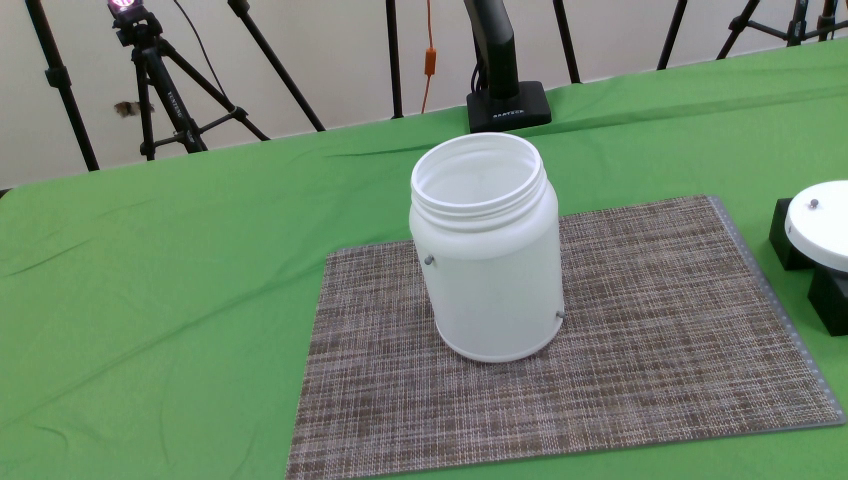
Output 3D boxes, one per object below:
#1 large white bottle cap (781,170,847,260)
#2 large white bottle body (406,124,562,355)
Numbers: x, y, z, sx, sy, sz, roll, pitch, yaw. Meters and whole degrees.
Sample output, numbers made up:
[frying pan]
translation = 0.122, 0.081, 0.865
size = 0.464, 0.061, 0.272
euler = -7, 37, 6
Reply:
[large white bottle cap]
translation = 0.385, -0.024, 0.540
size = 0.115, 0.018, 0.113
euler = -8, 40, 7
[large white bottle body]
translation = 0.056, 0.001, 0.553
size = 0.130, 0.186, 0.129
euler = -8, 41, 7
